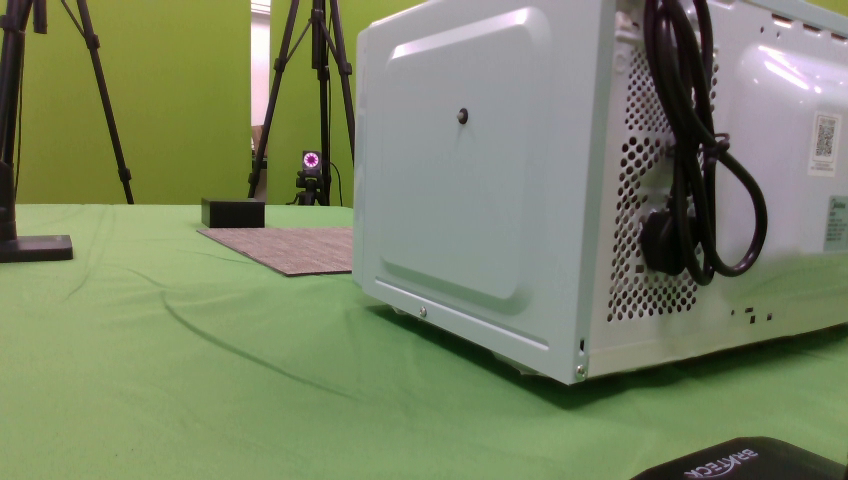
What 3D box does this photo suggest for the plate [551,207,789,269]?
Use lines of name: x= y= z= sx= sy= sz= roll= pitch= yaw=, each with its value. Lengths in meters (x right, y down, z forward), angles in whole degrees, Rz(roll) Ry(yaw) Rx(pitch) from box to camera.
plate: x=0.224 y=-0.004 z=0.572 sx=0.209 sy=0.038 sz=0.209 roll=3 pitch=7 yaw=0

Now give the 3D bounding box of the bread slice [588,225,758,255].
bread slice: x=0.225 y=-0.001 z=0.569 sx=0.132 sy=0.019 sz=0.104 roll=1 pitch=6 yaw=-23

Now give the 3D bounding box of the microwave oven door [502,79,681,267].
microwave oven door: x=0.233 y=-0.106 z=0.925 sx=0.039 sy=0.243 sz=0.354 roll=-1 pitch=8 yaw=-25

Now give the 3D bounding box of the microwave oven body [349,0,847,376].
microwave oven body: x=0.199 y=-0.053 z=0.540 sx=0.444 sy=0.260 sz=0.324 roll=-1 pitch=7 yaw=-32

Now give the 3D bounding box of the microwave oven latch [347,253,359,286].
microwave oven latch: x=-0.034 y=0.028 z=0.581 sx=0.079 sy=0.029 sz=0.030 roll=-1 pitch=7 yaw=-31
